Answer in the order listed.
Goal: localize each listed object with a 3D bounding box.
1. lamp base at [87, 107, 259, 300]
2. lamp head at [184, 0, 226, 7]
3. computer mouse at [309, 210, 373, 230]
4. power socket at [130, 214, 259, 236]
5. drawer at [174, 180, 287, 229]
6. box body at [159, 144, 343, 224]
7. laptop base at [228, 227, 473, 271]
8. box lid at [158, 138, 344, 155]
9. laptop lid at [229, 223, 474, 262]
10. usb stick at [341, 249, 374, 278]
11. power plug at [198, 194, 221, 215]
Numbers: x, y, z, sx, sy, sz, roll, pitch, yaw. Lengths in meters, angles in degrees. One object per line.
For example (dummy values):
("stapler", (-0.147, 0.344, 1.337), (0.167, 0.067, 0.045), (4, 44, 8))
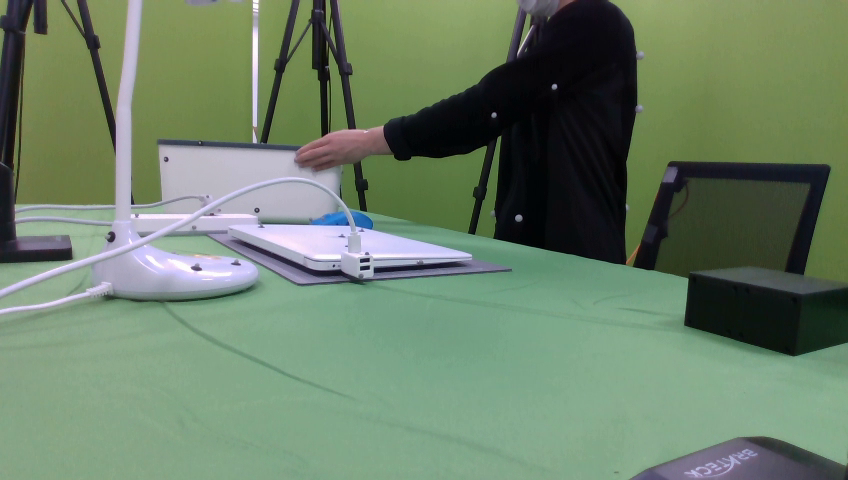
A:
("lamp base", (-0.254, -0.039, 0.603), (0.160, 0.180, 0.179), (5, 10, 18))
("lamp head", (-0.229, -0.320, 0.627), (0.112, 0.112, 0.123), (6, -35, 26))
("computer mouse", (-0.157, -0.034, 1.139), (0.118, 0.041, 0.062), (-6, 12, -28))
("power socket", (-0.397, -0.028, 1.048), (0.228, 0.032, 0.072), (-3, 7, -35))
("drawer", (-0.413, -0.080, 1.325), (0.212, 0.073, 0.194), (-8, 11, -8))
("box body", (-0.364, -0.128, 1.337), (0.365, 0.160, 0.253), (1, 7, -8))
("laptop base", (-0.124, 0.011, 0.888), (0.237, 0.023, 0.352), (2, 6, -35))
("box lid", (-0.363, -0.202, 1.327), (0.372, 0.015, 0.262), (2, 7, -8))
("laptop lid", (-0.121, 0.000, 0.888), (0.243, 0.013, 0.355), (1, 7, -33))
("usb stick", (-0.079, 0.026, 0.686), (0.021, 0.027, 0.059), (-7, 9, -31))
("power plug", (-0.386, -0.055, 1.088), (0.035, 0.052, 0.072), (-2, 7, -24))
